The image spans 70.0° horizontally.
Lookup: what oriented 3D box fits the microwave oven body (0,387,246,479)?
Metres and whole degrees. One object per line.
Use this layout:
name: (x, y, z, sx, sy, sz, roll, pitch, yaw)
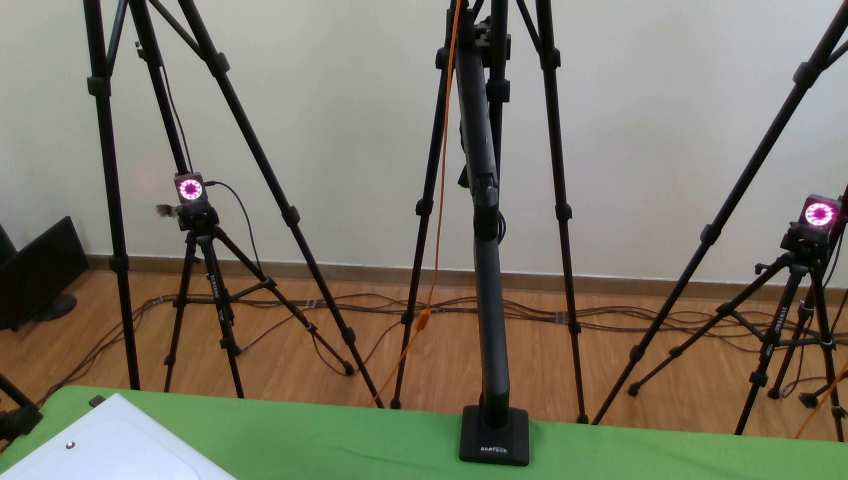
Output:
microwave oven body: (-0.442, 0.451, 0.718, 0.323, 0.262, 0.441, 21, 41, 28)
